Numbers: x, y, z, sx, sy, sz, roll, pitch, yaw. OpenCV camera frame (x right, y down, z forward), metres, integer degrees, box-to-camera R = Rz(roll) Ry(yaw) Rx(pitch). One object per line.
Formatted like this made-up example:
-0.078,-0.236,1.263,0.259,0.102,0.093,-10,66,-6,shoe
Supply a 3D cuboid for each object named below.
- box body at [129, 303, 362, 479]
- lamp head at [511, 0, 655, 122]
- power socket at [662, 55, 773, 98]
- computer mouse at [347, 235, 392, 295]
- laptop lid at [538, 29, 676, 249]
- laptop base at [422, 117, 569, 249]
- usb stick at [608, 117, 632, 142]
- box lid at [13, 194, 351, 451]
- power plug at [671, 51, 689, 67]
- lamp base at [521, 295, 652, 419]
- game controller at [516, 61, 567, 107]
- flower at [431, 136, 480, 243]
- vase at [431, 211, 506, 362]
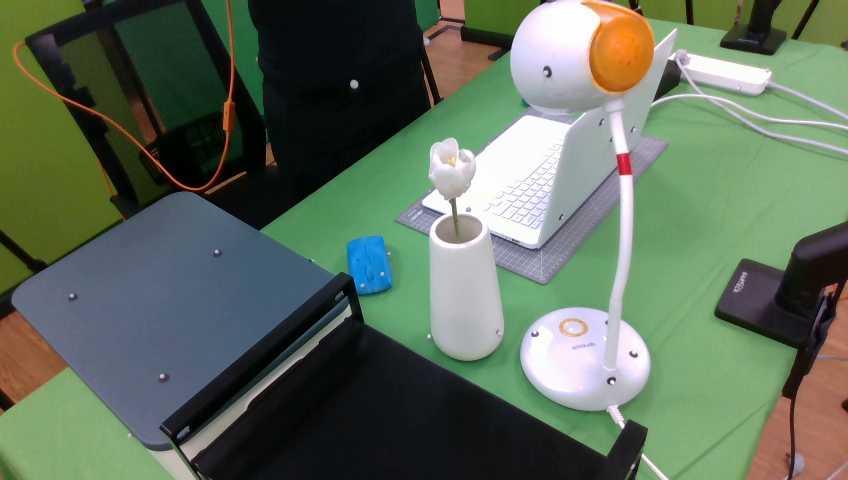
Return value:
-0.285,0.123,0.766,0.361,0.161,0.255,25,49,33,box body
0.155,-0.168,0.564,0.113,0.113,0.122,-18,23,-12,lamp head
0.619,-0.352,1.289,0.225,0.033,0.072,26,51,33,power socket
-0.086,0.035,0.936,0.063,0.041,0.116,-8,44,-5,computer mouse
0.288,-0.159,0.939,0.013,0.242,0.358,31,51,24,laptop lid
0.192,-0.116,1.087,0.233,0.023,0.355,21,48,34,laptop base
0.370,-0.207,1.147,0.021,0.027,0.059,27,55,32,usb stick
-0.292,0.067,0.717,0.368,0.015,0.264,25,50,33,box lid
0.541,-0.378,1.301,0.073,0.053,0.035,-32,46,-24,power plug
0.200,0.095,0.710,0.161,0.181,0.177,-17,43,-10,lamp base
0.259,-0.352,1.336,0.097,0.052,0.154,-2,41,2,game controller
0.041,0.011,0.691,0.044,0.363,0.038,16,62,14,flower
0.054,0.062,0.757,0.098,0.201,0.097,-3,40,3,vase
